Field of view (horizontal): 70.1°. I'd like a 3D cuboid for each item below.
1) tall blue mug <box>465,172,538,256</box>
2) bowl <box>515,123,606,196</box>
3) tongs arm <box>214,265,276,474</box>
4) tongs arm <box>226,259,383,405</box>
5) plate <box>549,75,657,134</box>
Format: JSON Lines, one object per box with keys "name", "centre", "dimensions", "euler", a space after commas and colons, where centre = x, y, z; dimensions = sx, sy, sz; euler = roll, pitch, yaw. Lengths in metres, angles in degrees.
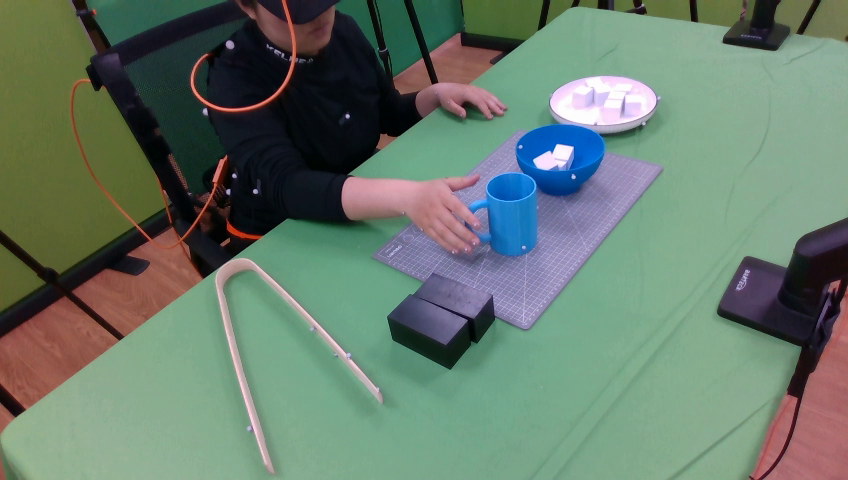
{"name": "tall blue mug", "centre": [0.125, -0.033, 0.925], "dimensions": [0.107, 0.108, 0.077], "euler": [-32, 46, -25]}
{"name": "bowl", "centre": [0.234, -0.130, 1.044], "dimensions": [0.151, 0.077, 0.150], "euler": [-5, 40, 5]}
{"name": "tongs arm", "centre": [-0.252, 0.158, 0.837], "dimensions": [0.028, 0.028, 0.384], "euler": [-27, 43, -8]}
{"name": "tongs arm", "centre": [-0.185, 0.121, 0.863], "dimensions": [0.051, 0.027, 0.381], "euler": [-34, 45, -20]}
{"name": "plate", "centre": [0.357, -0.268, 1.220], "dimensions": [0.209, 0.038, 0.208], "euler": [-5, 41, 5]}
